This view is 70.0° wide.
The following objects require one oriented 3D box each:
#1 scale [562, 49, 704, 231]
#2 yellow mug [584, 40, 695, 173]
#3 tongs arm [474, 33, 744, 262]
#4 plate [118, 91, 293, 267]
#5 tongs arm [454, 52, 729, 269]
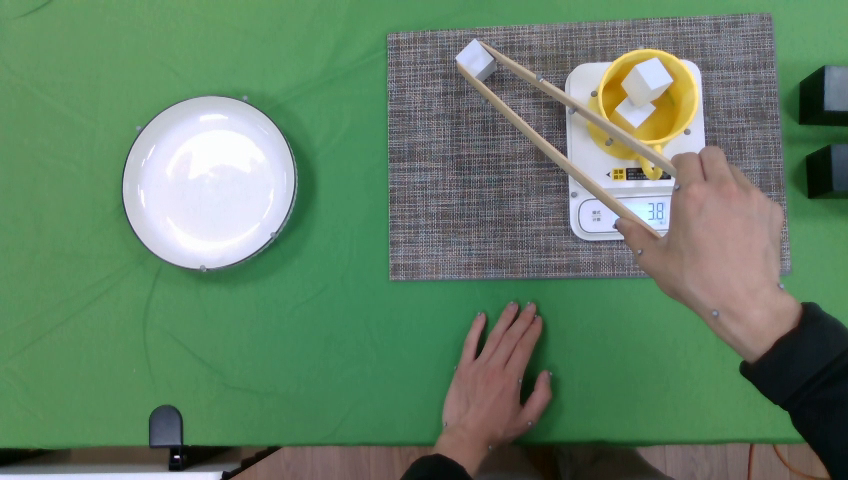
[{"bbox_3d":[0.235,-0.113,0.682,0.148,0.031,0.200,-2,85,5],"label":"scale"},{"bbox_3d":[0.227,-0.135,0.638,0.100,0.064,0.130,-12,85,3],"label":"yellow mug"},{"bbox_3d":[0.145,-0.110,0.572,0.051,0.027,0.380,-45,49,2],"label":"tongs arm"},{"bbox_3d":[-0.254,-0.070,0.720,0.207,0.039,0.207,0,85,4],"label":"plate"},{"bbox_3d":[0.128,-0.095,0.574,0.028,0.028,0.383,-39,49,2],"label":"tongs arm"}]
